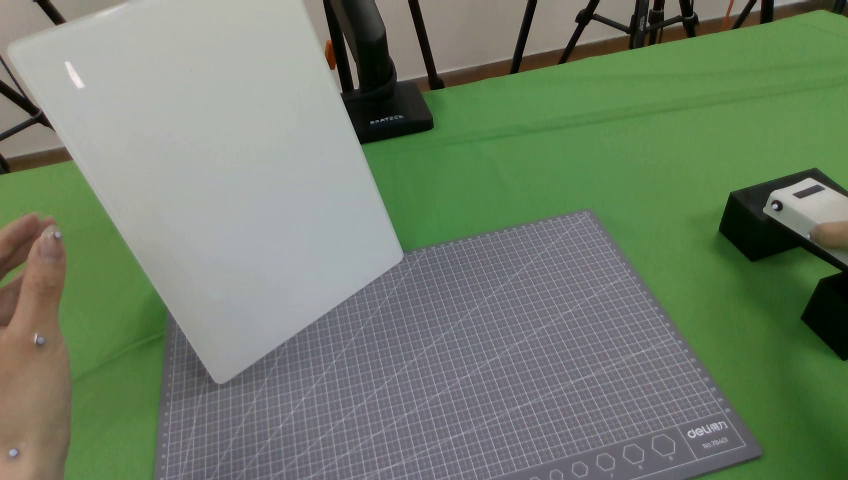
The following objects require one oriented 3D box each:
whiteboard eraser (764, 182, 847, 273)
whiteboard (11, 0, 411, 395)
[{"bbox_3d":[0.354,-0.006,0.514,0.055,0.042,0.111,-22,39,-14],"label":"whiteboard eraser"},{"bbox_3d":[-0.181,-0.060,0.560,0.217,0.308,0.142,-34,29,-26],"label":"whiteboard"}]
